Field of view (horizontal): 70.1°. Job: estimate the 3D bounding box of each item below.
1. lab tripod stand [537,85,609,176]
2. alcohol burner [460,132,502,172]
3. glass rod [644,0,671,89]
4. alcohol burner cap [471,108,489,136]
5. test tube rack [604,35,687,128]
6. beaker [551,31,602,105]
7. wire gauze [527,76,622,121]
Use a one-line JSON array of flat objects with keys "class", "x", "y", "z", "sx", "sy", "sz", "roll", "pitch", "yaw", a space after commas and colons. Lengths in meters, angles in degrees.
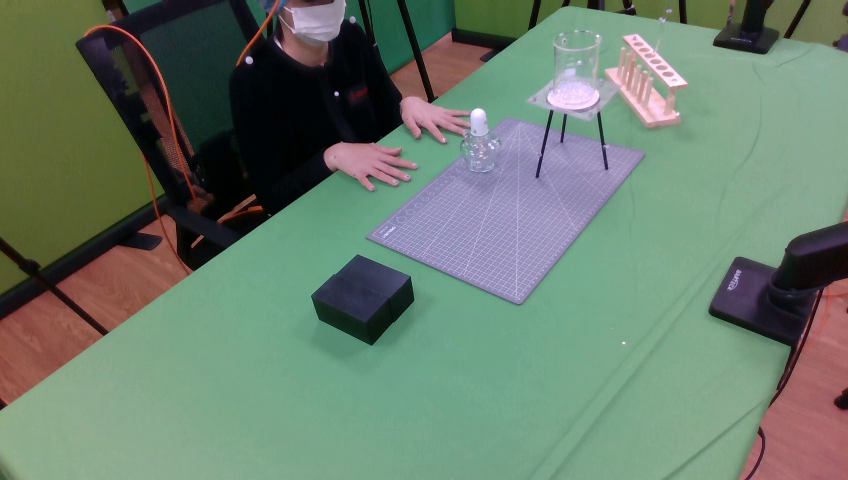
[{"class": "lab tripod stand", "x": 0.259, "y": -0.192, "z": 1.068, "sx": 0.148, "sy": 0.132, "sz": 0.147, "roll": -4, "pitch": 42, "yaw": 4}, {"class": "alcohol burner", "x": 0.102, "y": -0.185, "z": 1.098, "sx": 0.078, "sy": 0.119, "sz": 0.077, "roll": -6, "pitch": 40, "yaw": 5}, {"class": "glass rod", "x": 0.463, "y": -0.387, "z": 1.204, "sx": 0.008, "sy": 0.200, "sz": 0.008, "roll": 0, "pitch": 47, "yaw": 1}, {"class": "alcohol burner cap", "x": 0.098, "y": -0.211, "z": 1.074, "sx": 0.034, "sy": 0.048, "sz": 0.033, "roll": -6, "pitch": 42, "yaw": 6}, {"class": "test tube rack", "x": 0.447, "y": -0.330, "z": 1.241, "sx": 0.067, "sy": 0.085, "sz": 0.241, "roll": -9, "pitch": 41, "yaw": -2}, {"class": "beaker", "x": 0.252, "y": -0.283, "z": 0.998, "sx": 0.084, "sy": 0.101, "sz": 0.073, "roll": -16, "pitch": 42, "yaw": -7}, {"class": "wire gauze", "x": 0.255, "y": -0.247, "z": 1.031, "sx": 0.124, "sy": 0.011, "sz": 0.122, "roll": 23, "pitch": 49, "yaw": 34}]
